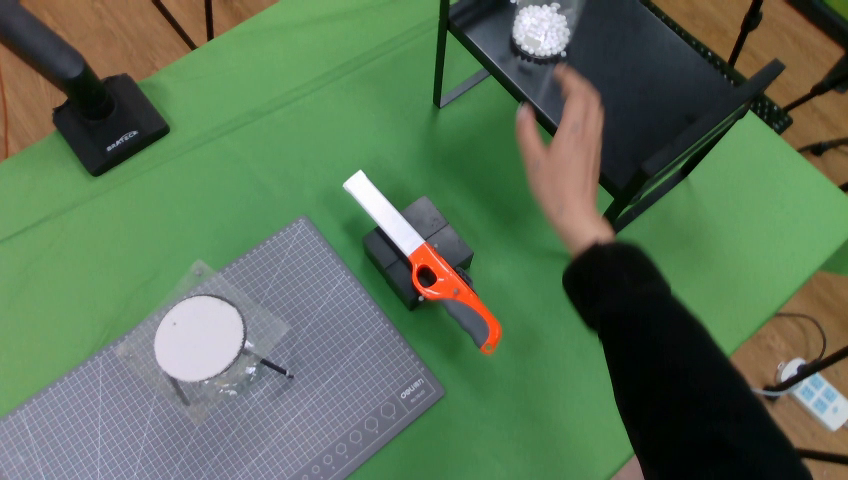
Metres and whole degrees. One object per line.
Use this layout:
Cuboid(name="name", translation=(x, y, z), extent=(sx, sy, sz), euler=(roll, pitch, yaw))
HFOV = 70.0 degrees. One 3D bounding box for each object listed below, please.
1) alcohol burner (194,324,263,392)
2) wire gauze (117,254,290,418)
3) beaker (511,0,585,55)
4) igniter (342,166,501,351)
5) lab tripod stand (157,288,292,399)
Cuboid(name="alcohol burner", translation=(-0.221, 0.129, 0.674), extent=(0.078, 0.120, 0.077), euler=(1, 70, -3))
Cuboid(name="wire gauze", translation=(-0.221, 0.093, 0.605), extent=(0.121, 0.011, 0.125), euler=(37, 72, 11))
Cuboid(name="beaker", translation=(0.133, -0.257, 0.654), extent=(0.084, 0.101, 0.073), euler=(15, 69, 4))
Cuboid(name="igniter", translation=(-0.003, 0.018, 0.725), extent=(0.057, 0.025, 0.275), euler=(-40, 75, -5))
Cuboid(name="lab tripod stand", translation=(-0.228, 0.111, 0.669), extent=(0.148, 0.132, 0.147), euler=(0, 68, 0))
